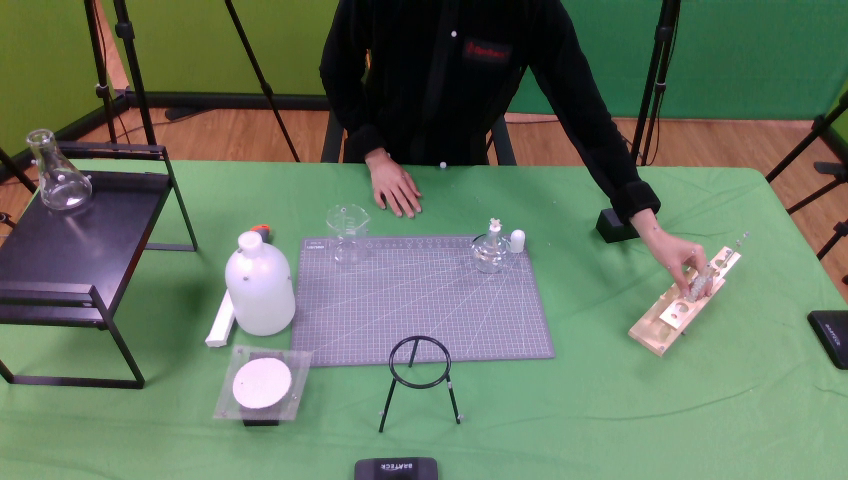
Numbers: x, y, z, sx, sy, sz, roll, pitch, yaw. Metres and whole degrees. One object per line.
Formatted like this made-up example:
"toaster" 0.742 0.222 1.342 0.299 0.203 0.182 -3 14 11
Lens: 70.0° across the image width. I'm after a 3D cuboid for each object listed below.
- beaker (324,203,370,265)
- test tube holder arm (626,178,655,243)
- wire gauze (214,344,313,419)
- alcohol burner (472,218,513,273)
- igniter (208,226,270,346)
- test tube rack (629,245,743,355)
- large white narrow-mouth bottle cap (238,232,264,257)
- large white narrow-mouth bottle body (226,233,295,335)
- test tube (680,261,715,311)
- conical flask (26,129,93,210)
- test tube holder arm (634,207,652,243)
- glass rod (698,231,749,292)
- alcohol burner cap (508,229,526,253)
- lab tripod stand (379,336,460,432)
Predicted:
"beaker" -0.142 -0.009 1.137 0.084 0.101 0.073 -3 47 -7
"test tube holder arm" 0.434 -0.062 1.220 0.013 0.015 0.177 4 47 -4
"wire gauze" -0.241 0.213 0.915 0.121 0.011 0.124 5 46 1
"alcohol burner" 0.128 0.005 1.132 0.078 0.120 0.077 0 47 0
"igniter" -0.331 0.073 1.099 0.057 0.025 0.275 -4 45 10
"test tube rack" 0.474 0.095 1.091 0.242 0.085 0.066 -34 56 -31
"large white narrow-mouth bottle cap" -0.266 0.007 0.933 0.038 0.024 0.037 2 46 -2
"large white narrow-mouth bottle body" -0.270 0.065 0.995 0.102 0.195 0.101 2 46 -2
"test tube" 0.455 0.091 1.023 0.017 0.151 0.017 1 46 -1
"conical flask" -0.575 -0.113 0.946 0.075 0.122 0.075 2 46 -2
"test tube holder arm" 0.429 -0.030 1.189 0.010 0.015 0.087 4 47 -4
"glass rod" 0.515 0.044 1.051 0.008 0.200 0.008 1 55 -1
"alcohol burner cap" 0.185 -0.002 1.192 0.034 0.048 0.033 3 46 -3
"lab tripod stand" -0.010 0.214 0.911 0.148 0.132 0.147 1 45 -1
